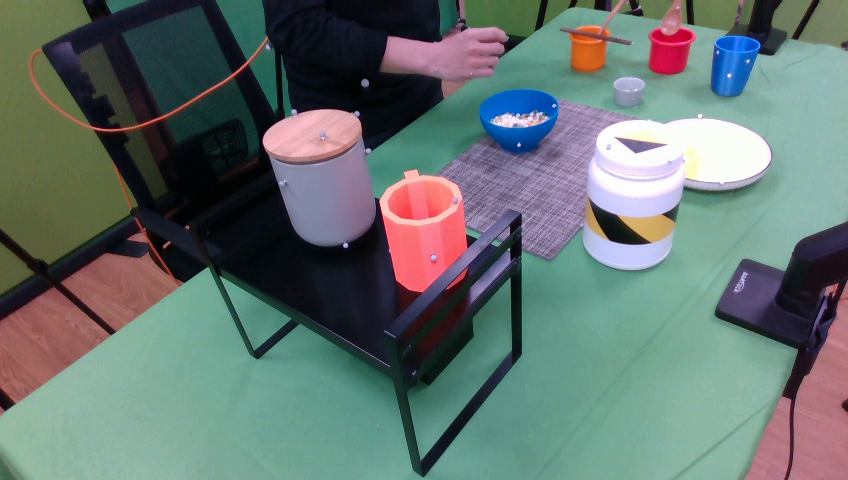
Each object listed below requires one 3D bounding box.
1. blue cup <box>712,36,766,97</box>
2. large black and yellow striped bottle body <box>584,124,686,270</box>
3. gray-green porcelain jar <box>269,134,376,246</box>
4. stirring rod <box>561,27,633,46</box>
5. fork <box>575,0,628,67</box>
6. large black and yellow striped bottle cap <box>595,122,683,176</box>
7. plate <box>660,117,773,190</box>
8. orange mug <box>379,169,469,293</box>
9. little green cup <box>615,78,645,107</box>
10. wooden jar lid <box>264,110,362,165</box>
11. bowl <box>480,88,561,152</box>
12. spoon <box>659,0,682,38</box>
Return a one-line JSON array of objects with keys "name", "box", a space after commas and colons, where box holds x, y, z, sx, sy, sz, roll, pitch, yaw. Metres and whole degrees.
[{"name": "blue cup", "box": [0.627, -0.350, 1.227, 0.092, 0.100, 0.092, -4, 39, 4]}, {"name": "large black and yellow striped bottle body", "box": [0.304, -0.063, 0.880, 0.131, 0.185, 0.130, -5, 41, 5]}, {"name": "gray-green porcelain jar", "box": [-0.115, -0.064, 0.715, 0.106, 0.127, 0.105, -4, 40, 4]}, {"name": "stirring rod", "box": [0.383, -0.454, 1.347, 0.174, 0.006, 0.014, 28, 54, 34]}, {"name": "fork", "box": [0.413, -0.481, 1.377, 0.207, 0.019, 0.028, -56, 42, 12]}, {"name": "large black and yellow striped bottle cap", "box": [0.293, -0.126, 0.826, 0.115, 0.019, 0.114, -3, 40, 3]}, {"name": "plate", "box": [0.495, -0.148, 1.063, 0.209, 0.038, 0.208, -5, 40, 4]}, {"name": "orange mug", "box": [-0.002, -0.019, 0.665, 0.083, 0.101, 0.125, -12, 45, -4]}, {"name": "little green cup", "box": [0.426, -0.306, 1.257, 0.061, 0.039, 0.061, -5, 40, 4]}, {"name": "wooden jar lid", "box": [-0.122, -0.112, 0.673, 0.108, 0.021, 0.108, -4, 37, 4]}, {"name": "bowl", "box": [0.185, -0.222, 1.160, 0.151, 0.077, 0.150, -4, 40, 4]}, {"name": "spoon", "box": [0.545, -0.523, 1.268, 0.041, 0.194, 0.022, 26, 24, 25]}]
